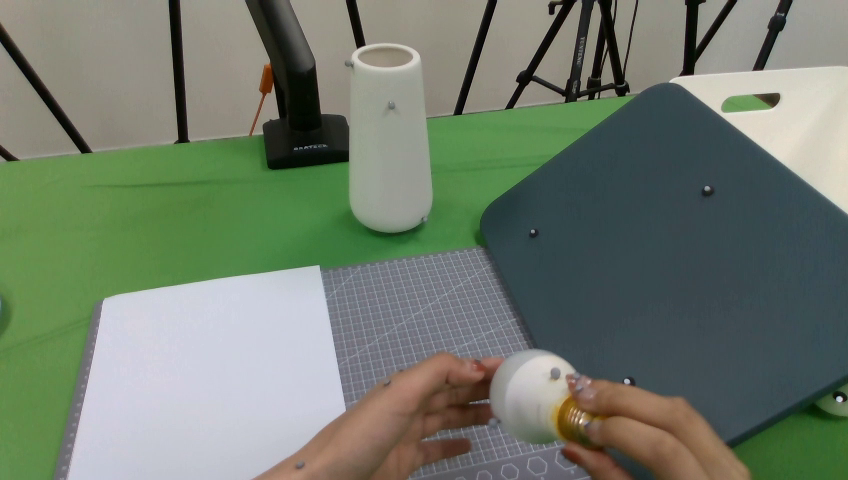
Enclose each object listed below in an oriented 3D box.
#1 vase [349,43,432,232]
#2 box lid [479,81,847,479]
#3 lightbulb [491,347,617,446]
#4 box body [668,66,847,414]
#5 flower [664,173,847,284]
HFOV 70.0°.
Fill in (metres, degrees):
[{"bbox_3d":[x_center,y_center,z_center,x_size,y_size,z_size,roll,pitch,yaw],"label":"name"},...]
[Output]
[{"bbox_3d":[-0.040,-0.108,0.666,0.098,0.202,0.097,0,38,0],"label":"vase"},{"bbox_3d":[0.203,0.010,0.547,0.263,0.015,0.367,-37,39,14],"label":"box lid"},{"bbox_3d":[0.082,0.101,0.376,0.060,0.059,0.107,-14,5,-18],"label":"lightbulb"},{"bbox_3d":[0.418,-0.023,0.604,0.255,0.162,0.360,-7,39,-9],"label":"box body"},{"bbox_3d":[0.425,0.024,0.654,0.044,0.038,0.358,-24,49,-38],"label":"flower"}]
